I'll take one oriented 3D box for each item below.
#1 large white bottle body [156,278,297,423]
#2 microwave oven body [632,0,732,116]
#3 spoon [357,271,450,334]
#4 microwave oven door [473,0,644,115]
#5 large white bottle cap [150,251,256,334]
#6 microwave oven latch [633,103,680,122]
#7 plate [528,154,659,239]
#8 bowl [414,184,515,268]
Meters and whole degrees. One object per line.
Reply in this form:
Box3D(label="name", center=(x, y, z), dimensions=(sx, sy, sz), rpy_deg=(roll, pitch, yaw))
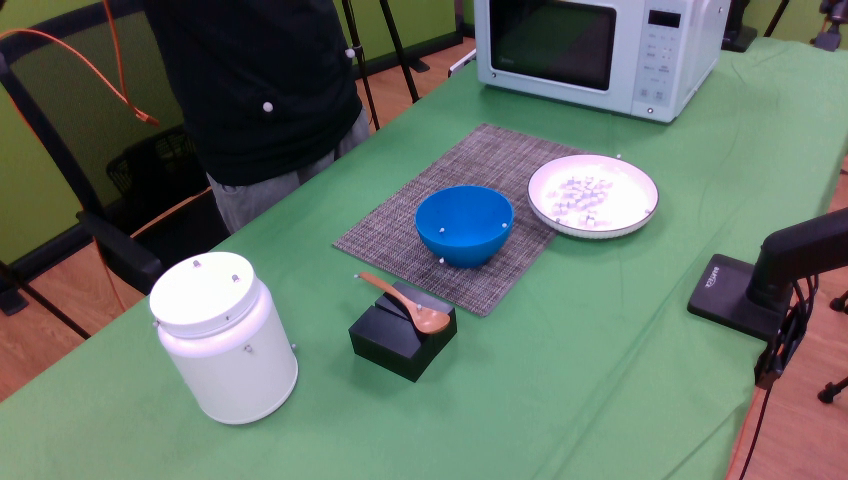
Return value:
Box3D(label="large white bottle body", center=(-0.239, 0.120, 0.735), dimensions=(0.130, 0.185, 0.130), rpy_deg=(-4, 41, 4))
Box3D(label="microwave oven body", center=(0.377, -0.462, 1.267), dimensions=(0.438, 0.261, 0.327), rpy_deg=(21, 48, 30))
Box3D(label="spoon", center=(-0.034, 0.078, 0.812), dimensions=(0.042, 0.022, 0.192), rpy_deg=(-35, 43, -24))
Box3D(label="microwave oven door", center=(0.257, -0.396, 1.199), dimensions=(0.353, 0.245, 0.039), rpy_deg=(21, 48, 29))
Box3D(label="large white bottle cap", center=(-0.248, 0.056, 0.680), dimensions=(0.115, 0.018, 0.114), rpy_deg=(-4, 41, 4))
Box3D(label="microwave oven latch", center=(0.443, -0.249, 1.157), dimensions=(0.078, 0.029, 0.030), rpy_deg=(21, 48, 30))
Box3D(label="plate", center=(0.274, -0.069, 0.993), dimensions=(0.209, 0.038, 0.208), rpy_deg=(-2, 42, 2))
Box3D(label="bowl", center=(0.063, -0.011, 0.922), dimensions=(0.151, 0.077, 0.150), rpy_deg=(-4, 40, 4))
